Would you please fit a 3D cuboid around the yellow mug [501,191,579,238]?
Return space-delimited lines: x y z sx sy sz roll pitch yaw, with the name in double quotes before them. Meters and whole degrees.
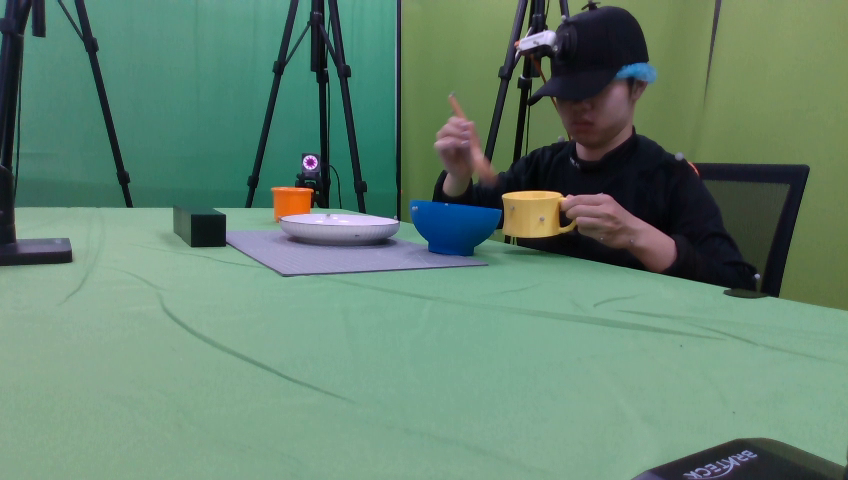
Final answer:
"yellow mug" 0.194 -0.044 1.012 0.130 0.064 0.100 4 13 26

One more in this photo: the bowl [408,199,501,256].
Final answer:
"bowl" 0.045 -0.019 0.968 0.151 0.077 0.151 6 5 0

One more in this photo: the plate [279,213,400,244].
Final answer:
"plate" -0.147 -0.020 1.060 0.209 0.038 0.209 2 7 0

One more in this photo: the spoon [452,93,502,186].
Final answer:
"spoon" 0.086 -0.173 1.021 0.022 0.193 0.041 -8 -27 -24
